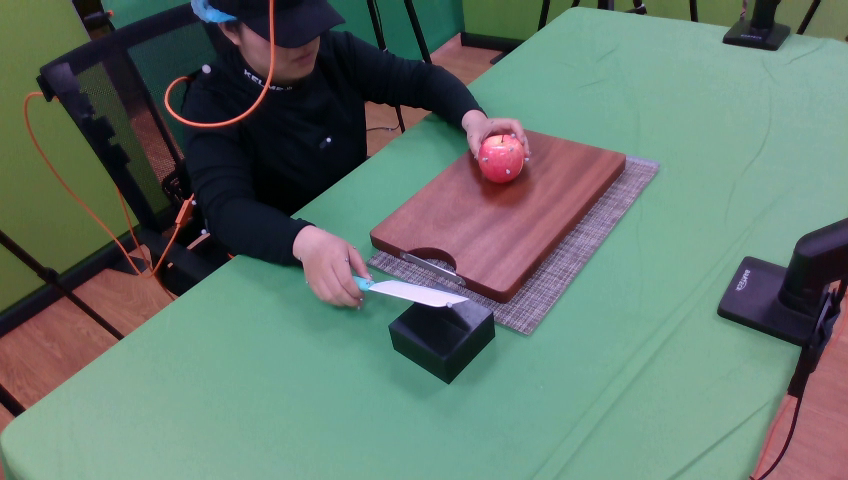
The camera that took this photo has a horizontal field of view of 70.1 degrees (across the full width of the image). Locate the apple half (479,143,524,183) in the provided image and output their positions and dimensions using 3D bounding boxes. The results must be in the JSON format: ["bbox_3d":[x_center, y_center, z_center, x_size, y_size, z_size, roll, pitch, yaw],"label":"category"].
[{"bbox_3d":[0.129,-0.125,1.023,0.081,0.081,0.033,4,37,16],"label":"apple half"}]

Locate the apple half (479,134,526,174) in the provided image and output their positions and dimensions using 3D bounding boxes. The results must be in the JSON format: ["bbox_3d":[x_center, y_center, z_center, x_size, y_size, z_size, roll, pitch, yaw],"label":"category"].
[{"bbox_3d":[0.139,-0.148,1.052,0.080,0.075,0.053,1,36,18],"label":"apple half"}]

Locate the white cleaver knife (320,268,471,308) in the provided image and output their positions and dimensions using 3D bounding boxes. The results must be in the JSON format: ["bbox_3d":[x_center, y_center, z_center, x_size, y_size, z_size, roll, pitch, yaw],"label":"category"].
[{"bbox_3d":[-0.052,0.070,0.864,0.066,0.021,0.284,1,6,-44],"label":"white cleaver knife"}]
